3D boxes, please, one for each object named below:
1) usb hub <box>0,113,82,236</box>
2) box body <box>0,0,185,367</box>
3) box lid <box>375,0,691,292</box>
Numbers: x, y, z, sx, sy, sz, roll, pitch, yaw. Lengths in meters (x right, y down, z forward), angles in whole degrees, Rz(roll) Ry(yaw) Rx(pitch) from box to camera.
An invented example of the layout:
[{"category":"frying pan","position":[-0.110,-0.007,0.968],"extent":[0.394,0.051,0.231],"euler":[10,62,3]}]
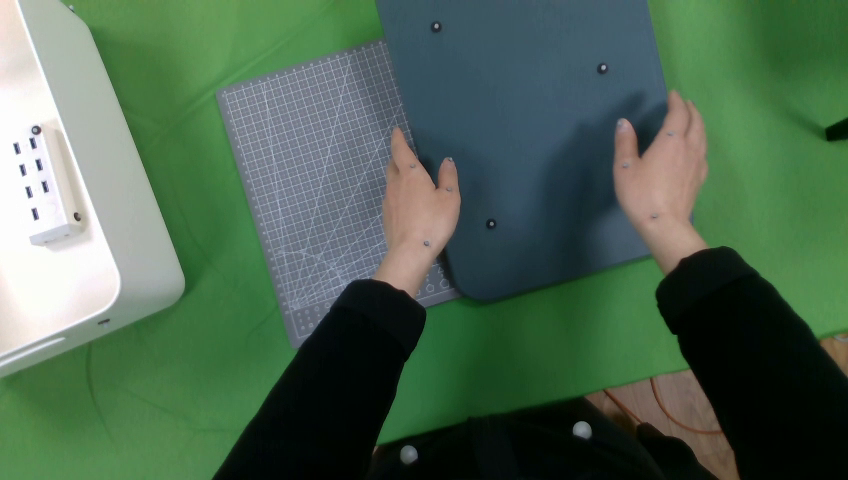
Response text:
[{"category":"usb hub","position":[-0.414,-0.071,0.655],"extent":[0.049,0.025,0.125],"euler":[-18,87,-1]},{"category":"box body","position":[-0.428,-0.067,0.593],"extent":[0.254,0.160,0.363],"euler":[-23,86,0]},{"category":"box lid","position":[0.113,-0.144,0.617],"extent":[0.263,0.015,0.372],"euler":[-16,99,1]}]
